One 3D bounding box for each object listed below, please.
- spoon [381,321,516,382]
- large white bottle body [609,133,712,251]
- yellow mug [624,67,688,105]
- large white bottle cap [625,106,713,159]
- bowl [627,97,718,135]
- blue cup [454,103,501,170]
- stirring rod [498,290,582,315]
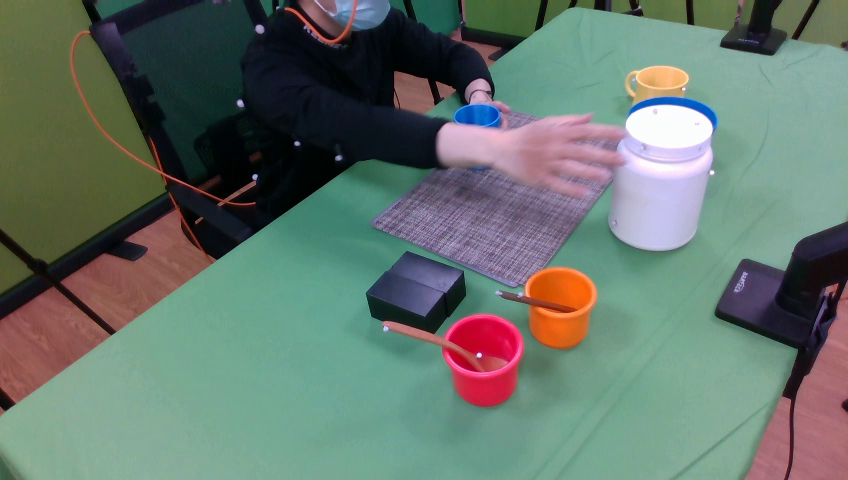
[{"bbox_3d":[0.033,0.131,0.726,0.195,0.021,0.041,29,28,-26],"label":"spoon"},{"bbox_3d":[0.351,-0.089,0.904,0.130,0.185,0.130,-5,41,4],"label":"large white bottle body"},{"bbox_3d":[0.465,-0.305,1.230,0.100,0.064,0.129,-34,46,-27],"label":"yellow mug"},{"bbox_3d":[0.342,-0.153,0.848,0.115,0.018,0.114,-4,41,4],"label":"large white bottle cap"},{"bbox_3d":[0.439,-0.187,1.087,0.151,0.077,0.150,-4,41,4],"label":"bowl"},{"bbox_3d":[0.100,-0.187,1.113,0.092,0.100,0.092,-3,41,3],"label":"blue cup"},{"bbox_3d":[0.152,0.081,0.771,0.178,0.006,0.014,16,20,-44],"label":"stirring rod"}]
